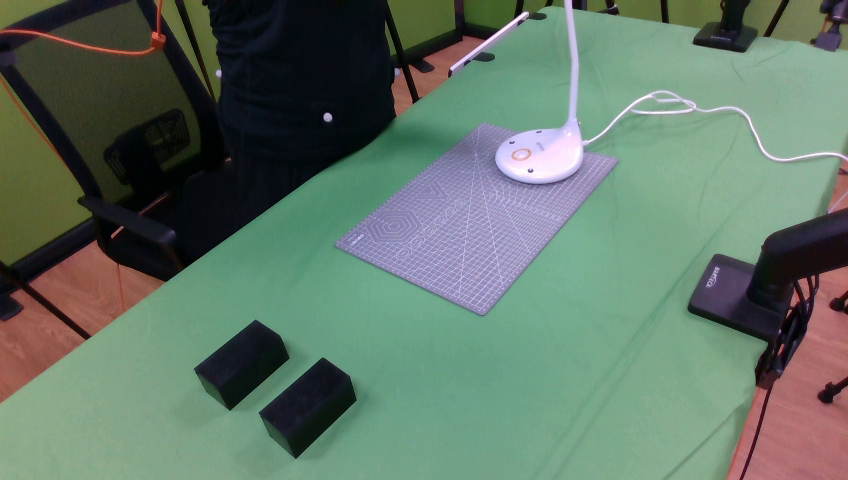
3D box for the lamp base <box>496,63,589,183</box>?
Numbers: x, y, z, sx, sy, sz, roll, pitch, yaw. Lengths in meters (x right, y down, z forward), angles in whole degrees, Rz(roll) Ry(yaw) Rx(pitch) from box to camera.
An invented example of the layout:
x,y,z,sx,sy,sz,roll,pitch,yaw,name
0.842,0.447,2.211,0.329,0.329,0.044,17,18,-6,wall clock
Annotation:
x,y,z,sx,sy,sz,roll,pitch,yaw,name
0.216,-0.217,1.066,0.180,0.181,0.159,-19,42,-18,lamp base
